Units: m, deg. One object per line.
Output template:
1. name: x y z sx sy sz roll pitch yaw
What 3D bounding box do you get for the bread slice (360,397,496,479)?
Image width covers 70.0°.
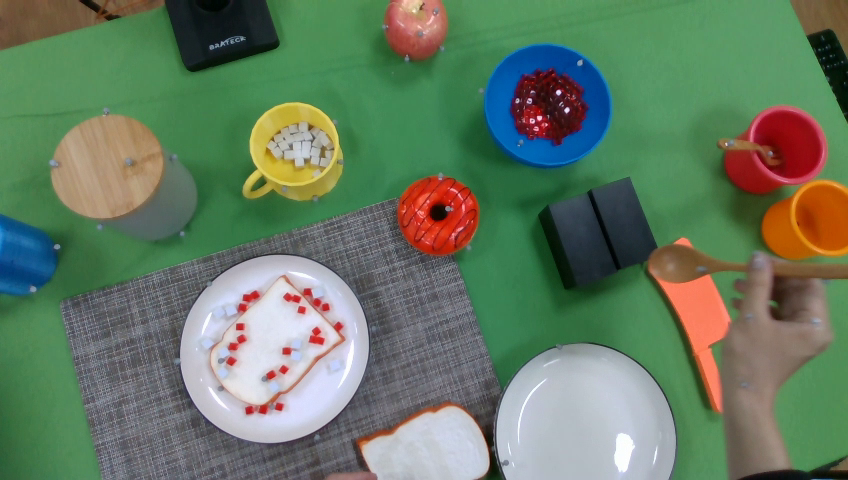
1. bread slice: 0.014 0.234 0.651 0.134 0.018 0.106 -23 79 -27

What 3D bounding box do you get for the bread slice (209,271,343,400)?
1. bread slice: -0.173 0.116 0.684 0.104 0.019 0.131 44 80 4

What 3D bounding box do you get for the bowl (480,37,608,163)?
1. bowl: 0.137 -0.157 0.735 0.151 0.077 0.151 1 80 -3

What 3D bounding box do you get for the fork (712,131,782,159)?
1. fork: 0.380 -0.113 0.709 0.208 0.018 0.028 -3 77 -47

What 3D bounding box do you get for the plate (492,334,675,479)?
1. plate: 0.178 0.213 0.692 0.209 0.038 0.208 1 80 -3

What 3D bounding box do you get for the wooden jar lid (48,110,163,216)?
1. wooden jar lid: -0.314 -0.075 0.603 0.108 0.021 0.108 1 78 -2

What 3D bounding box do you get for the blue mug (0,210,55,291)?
1. blue mug: -0.478 0.020 0.648 0.116 0.106 0.082 -44 85 -10

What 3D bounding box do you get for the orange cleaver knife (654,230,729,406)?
1. orange cleaver knife: 0.333 0.091 0.734 0.077 0.012 0.210 -17 80 -13

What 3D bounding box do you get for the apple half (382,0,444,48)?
1. apple half: -0.007 -0.280 0.750 0.080 0.075 0.053 37 74 7

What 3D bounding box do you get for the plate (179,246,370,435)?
1. plate: -0.165 0.111 0.684 0.208 0.039 0.207 1 80 -3

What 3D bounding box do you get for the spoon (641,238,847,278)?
1. spoon: 0.284 0.020 0.555 0.022 0.192 0.041 3 89 -30

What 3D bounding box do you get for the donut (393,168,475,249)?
1. donut: 0.012 -0.037 0.719 0.099 0.048 0.098 1 80 -4

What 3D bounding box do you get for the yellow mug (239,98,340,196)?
1. yellow mug: -0.164 -0.098 0.711 0.131 0.064 0.100 -42 85 -9

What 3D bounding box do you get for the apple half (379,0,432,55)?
1. apple half: -0.030 -0.250 0.741 0.081 0.081 0.032 37 75 4

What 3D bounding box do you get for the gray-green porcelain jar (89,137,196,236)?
1. gray-green porcelain jar: -0.317 -0.063 0.664 0.106 0.127 0.105 1 79 -3
